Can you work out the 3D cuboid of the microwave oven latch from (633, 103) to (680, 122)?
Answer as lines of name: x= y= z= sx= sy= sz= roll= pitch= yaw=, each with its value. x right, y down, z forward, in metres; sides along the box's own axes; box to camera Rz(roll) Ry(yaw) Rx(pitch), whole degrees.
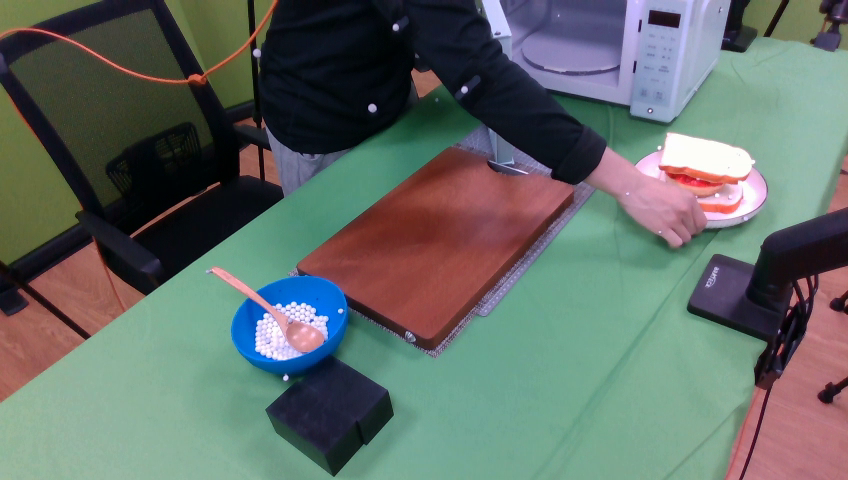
microwave oven latch: x=0.443 y=-0.249 z=1.157 sx=0.078 sy=0.029 sz=0.030 roll=21 pitch=49 yaw=30

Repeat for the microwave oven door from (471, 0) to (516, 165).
microwave oven door: x=0.128 y=-0.341 z=1.153 sx=0.039 sy=0.245 sz=0.354 roll=-7 pitch=40 yaw=2

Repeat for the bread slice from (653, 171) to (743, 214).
bread slice: x=0.452 y=-0.085 z=0.993 sx=0.131 sy=0.019 sz=0.105 roll=11 pitch=45 yaw=22

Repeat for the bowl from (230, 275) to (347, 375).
bowl: x=-0.171 y=0.125 z=0.801 sx=0.151 sy=0.077 sz=0.150 roll=-4 pitch=40 yaw=4

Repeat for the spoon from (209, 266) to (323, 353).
spoon: x=-0.213 y=0.088 z=0.806 sx=0.193 sy=0.021 sz=0.042 roll=37 pitch=56 yaw=11

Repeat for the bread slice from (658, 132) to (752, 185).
bread slice: x=0.442 y=-0.127 z=0.952 sx=0.134 sy=0.018 sz=0.107 roll=14 pitch=43 yaw=15

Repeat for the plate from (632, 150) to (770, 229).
plate: x=0.446 y=-0.082 z=0.988 sx=0.207 sy=0.039 sz=0.206 roll=-3 pitch=40 yaw=3

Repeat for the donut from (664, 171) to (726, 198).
donut: x=0.438 y=-0.106 z=0.974 sx=0.099 sy=0.048 sz=0.098 roll=-8 pitch=41 yaw=7

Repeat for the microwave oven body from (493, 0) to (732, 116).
microwave oven body: x=0.377 y=-0.463 z=1.267 sx=0.438 sy=0.261 sz=0.327 roll=21 pitch=49 yaw=30
